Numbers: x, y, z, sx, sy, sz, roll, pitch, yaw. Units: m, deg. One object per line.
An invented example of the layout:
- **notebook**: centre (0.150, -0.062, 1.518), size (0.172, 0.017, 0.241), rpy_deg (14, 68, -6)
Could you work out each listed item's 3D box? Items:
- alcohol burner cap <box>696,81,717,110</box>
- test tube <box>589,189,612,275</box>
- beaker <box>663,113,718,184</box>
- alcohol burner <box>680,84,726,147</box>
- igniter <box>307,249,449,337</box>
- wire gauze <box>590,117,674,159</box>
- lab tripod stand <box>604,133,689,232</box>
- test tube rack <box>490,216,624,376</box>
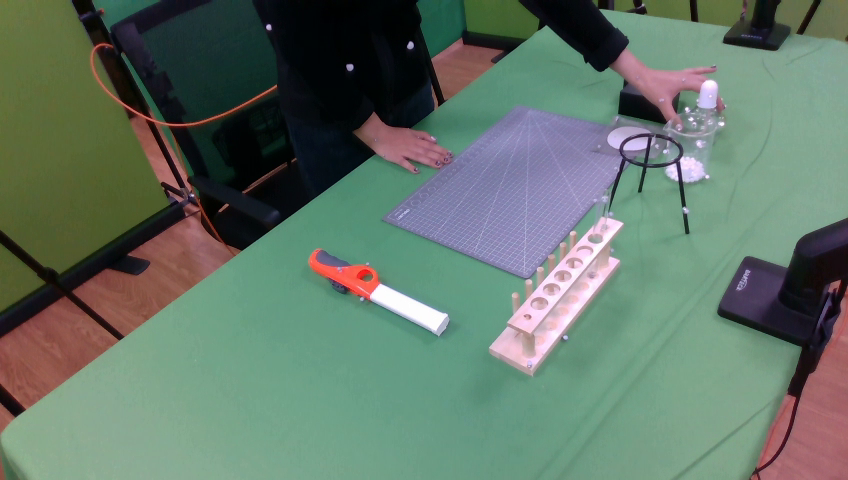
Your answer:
- **alcohol burner cap**: centre (0.497, -0.256, 1.062), size (0.034, 0.048, 0.033), rpy_deg (-6, 33, 4)
- **test tube**: centre (0.238, -0.007, 0.818), size (0.017, 0.151, 0.017), rpy_deg (-3, 43, 4)
- **beaker**: centre (0.442, -0.151, 1.018), size (0.084, 0.101, 0.074), rpy_deg (-1, 40, 11)
- **alcohol burner**: centre (0.503, -0.228, 1.086), size (0.078, 0.119, 0.077), rpy_deg (-4, 41, 4)
- **igniter**: centre (-0.079, 0.073, 0.905), size (0.274, 0.025, 0.057), rpy_deg (23, 61, 32)
- **wire gauze**: centre (0.393, -0.192, 1.139), size (0.120, 0.011, 0.125), rpy_deg (19, 47, 28)
- **lab tripod stand**: centre (0.347, -0.086, 0.932), size (0.148, 0.132, 0.147), rpy_deg (-4, 40, 4)
- **test tube rack**: centre (0.184, 0.064, 0.822), size (0.066, 0.085, 0.243), rpy_deg (24, 50, 33)
